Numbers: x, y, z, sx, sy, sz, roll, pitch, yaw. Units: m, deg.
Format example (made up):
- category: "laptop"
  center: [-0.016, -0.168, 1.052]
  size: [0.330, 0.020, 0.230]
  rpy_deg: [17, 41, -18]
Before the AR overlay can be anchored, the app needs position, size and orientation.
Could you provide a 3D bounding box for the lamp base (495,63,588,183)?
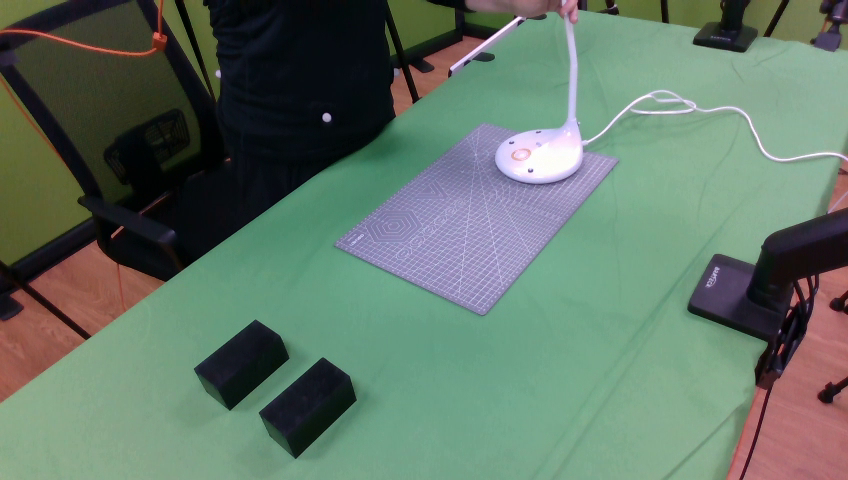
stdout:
- category: "lamp base"
  center: [0.215, -0.217, 1.067]
  size: [0.180, 0.181, 0.159]
  rpy_deg: [-19, 42, -18]
